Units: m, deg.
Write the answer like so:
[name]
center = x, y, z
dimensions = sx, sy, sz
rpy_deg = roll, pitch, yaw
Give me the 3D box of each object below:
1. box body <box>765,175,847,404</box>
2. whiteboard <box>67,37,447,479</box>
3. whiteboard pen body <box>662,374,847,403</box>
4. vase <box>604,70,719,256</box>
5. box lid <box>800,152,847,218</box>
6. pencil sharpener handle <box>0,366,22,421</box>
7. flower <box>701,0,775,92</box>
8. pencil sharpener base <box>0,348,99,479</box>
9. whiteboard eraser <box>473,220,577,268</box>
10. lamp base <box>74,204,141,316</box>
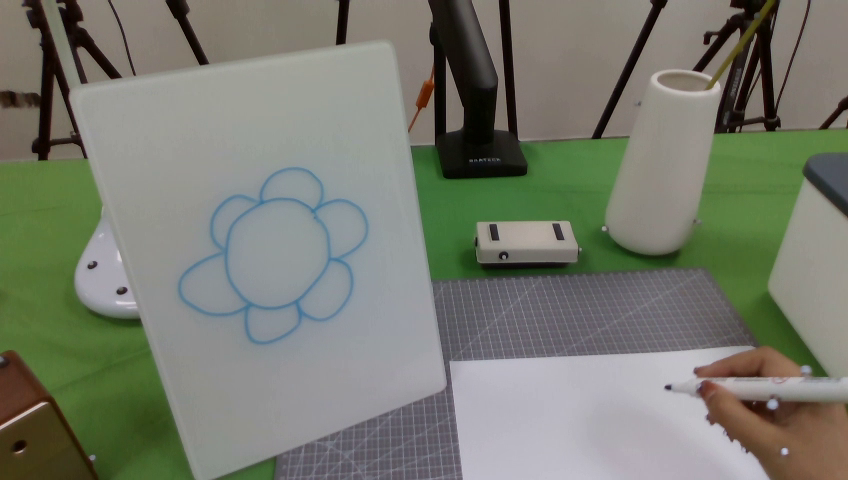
[box body]
center = 0.486, 0.086, 0.482
dimensions = 0.254, 0.162, 0.360
rpy_deg = -2, 37, -2
[whiteboard]
center = -0.124, 0.005, 0.514
dimensions = 0.218, 0.307, 0.142
rpy_deg = -16, 20, -19
[whiteboard pen body]
center = 0.220, 0.097, 0.400
dimensions = 0.017, 0.017, 0.140
rpy_deg = -32, 10, -36
[vase]
center = 0.264, -0.080, 0.671
dimensions = 0.098, 0.201, 0.097
rpy_deg = 1, 37, 0
[box lid]
center = 0.485, 0.027, 0.435
dimensions = 0.263, 0.015, 0.367
rpy_deg = -2, 36, -3
[pencil sharpener handle]
center = -0.334, 0.113, 0.462
dimensions = 0.030, 0.068, 0.036
rpy_deg = 28, 53, 33
[flower]
center = 0.276, -0.137, 0.611
dimensions = 0.044, 0.364, 0.038
rpy_deg = -18, 57, -32
[pencil sharpener base]
center = -0.297, 0.144, 0.442
dimensions = 0.076, 0.108, 0.061
rpy_deg = 28, 45, 33
[whiteboard eraser]
center = 0.113, 0.005, 0.687
dimensions = 0.113, 0.042, 0.055
rpy_deg = -2, 35, -1
[lamp base]
center = -0.306, -0.039, 0.627
dimensions = 0.178, 0.182, 0.160
rpy_deg = 23, 42, 30
